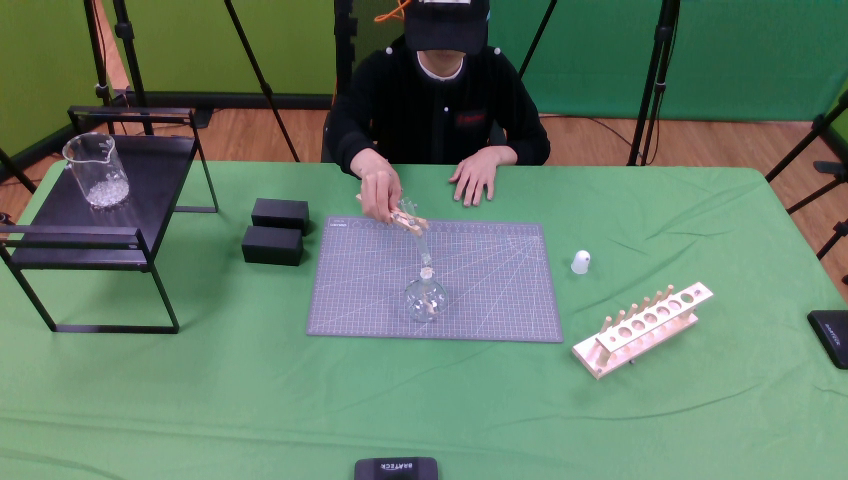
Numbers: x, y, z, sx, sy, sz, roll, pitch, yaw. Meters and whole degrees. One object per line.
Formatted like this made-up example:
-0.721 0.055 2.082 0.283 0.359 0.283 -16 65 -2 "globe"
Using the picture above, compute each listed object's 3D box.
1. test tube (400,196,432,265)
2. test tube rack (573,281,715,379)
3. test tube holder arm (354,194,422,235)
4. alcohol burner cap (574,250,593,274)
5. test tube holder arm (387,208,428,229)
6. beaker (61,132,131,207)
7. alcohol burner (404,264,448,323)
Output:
-0.010 -0.011 0.935 0.017 0.151 0.017 -9 47 10 "test tube"
0.378 0.140 1.038 0.242 0.085 0.066 -22 51 -23 "test tube rack"
-0.061 -0.043 0.967 0.013 0.015 0.177 -39 40 -23 "test tube holder arm"
0.308 0.039 1.163 0.034 0.048 0.033 1 46 -1 "alcohol burner cap"
-0.028 -0.034 0.938 0.087 0.015 0.010 18 52 41 "test tube holder arm"
-0.512 -0.107 0.959 0.083 0.101 0.074 29 51 22 "beaker"
0.003 0.087 1.042 0.078 0.120 0.077 1 45 0 "alcohol burner"
